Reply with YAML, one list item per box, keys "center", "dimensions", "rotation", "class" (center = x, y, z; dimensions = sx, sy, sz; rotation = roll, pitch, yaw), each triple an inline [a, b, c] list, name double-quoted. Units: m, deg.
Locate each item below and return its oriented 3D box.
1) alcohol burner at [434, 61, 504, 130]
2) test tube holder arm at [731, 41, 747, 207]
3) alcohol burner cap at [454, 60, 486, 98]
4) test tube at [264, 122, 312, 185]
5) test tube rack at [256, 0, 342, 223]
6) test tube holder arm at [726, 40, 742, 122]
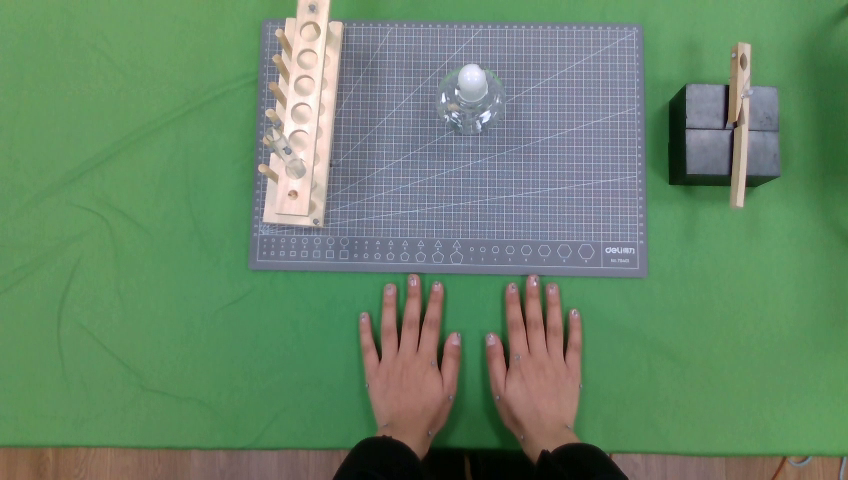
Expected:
- center: [0.049, -0.161, 0.649]
  dimensions: [0.078, 0.119, 0.077]
  rotation: [0, 85, 2]
  class: "alcohol burner"
- center: [0.335, -0.124, 0.644]
  dimensions: [0.013, 0.015, 0.178]
  rotation: [3, 84, -5]
  class: "test tube holder arm"
- center: [0.046, -0.165, 0.613]
  dimensions: [0.034, 0.048, 0.034]
  rotation: [0, 88, 3]
  class: "alcohol burner cap"
- center: [-0.133, -0.082, 0.606]
  dimensions: [0.017, 0.151, 0.017]
  rotation: [0, 78, 1]
  class: "test tube"
- center: [-0.141, -0.146, 0.663]
  dimensions: [0.067, 0.085, 0.241]
  rotation: [5, 84, 1]
  class: "test tube rack"
- center: [0.332, -0.169, 0.648]
  dimensions: [0.010, 0.015, 0.087]
  rotation: [4, 84, -4]
  class: "test tube holder arm"
